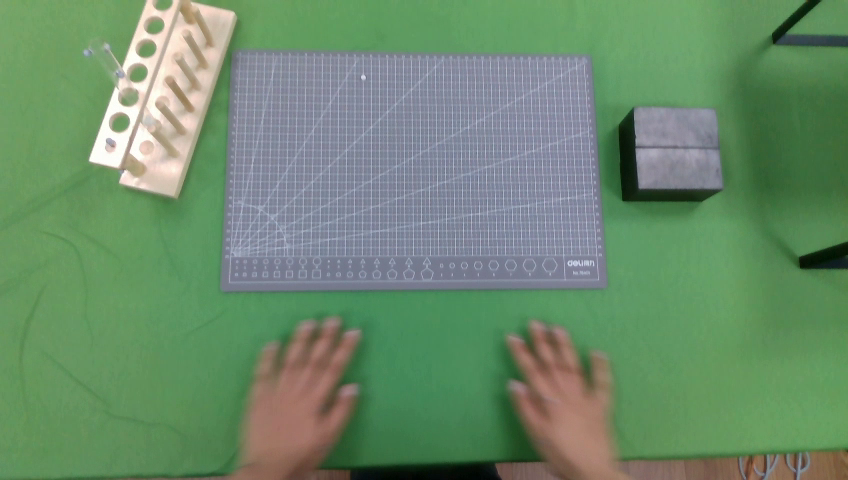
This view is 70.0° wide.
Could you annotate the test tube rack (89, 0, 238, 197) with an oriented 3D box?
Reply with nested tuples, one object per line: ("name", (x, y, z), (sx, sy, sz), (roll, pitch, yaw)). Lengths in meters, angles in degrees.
("test tube rack", (-0.291, -0.181, 0.696), (0.067, 0.085, 0.241), (14, 78, 0))

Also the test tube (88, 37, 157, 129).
("test tube", (-0.313, -0.160, 0.639), (0.017, 0.151, 0.017), (1, 70, -3))
